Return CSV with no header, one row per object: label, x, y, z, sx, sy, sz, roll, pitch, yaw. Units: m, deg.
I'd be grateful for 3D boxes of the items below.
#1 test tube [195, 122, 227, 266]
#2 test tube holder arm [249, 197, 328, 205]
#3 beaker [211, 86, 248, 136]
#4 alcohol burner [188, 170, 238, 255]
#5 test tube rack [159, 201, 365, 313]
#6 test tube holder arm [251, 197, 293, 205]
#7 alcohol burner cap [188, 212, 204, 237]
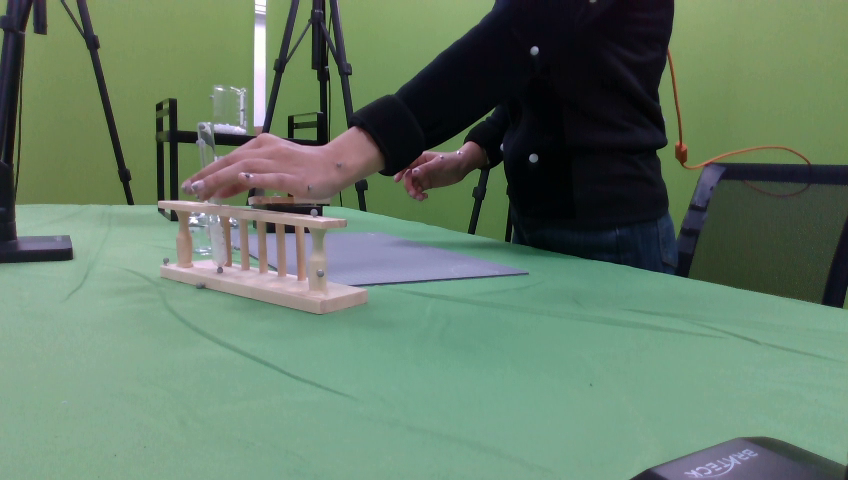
test tube,-0.221,-0.047,0.630,0.017,0.150,0.017,-4,7,1
test tube holder arm,-0.253,-0.075,1.147,0.013,0.015,0.179,4,6,38
beaker,-0.413,-0.274,1.297,0.074,0.100,0.083,-5,11,-44
alcohol burner,-0.298,-0.039,0.852,0.078,0.119,0.078,3,6,0
test tube rack,-0.173,0.009,0.624,0.241,0.085,0.067,7,9,34
test tube holder arm,-0.277,-0.072,1.108,0.010,0.015,0.088,4,6,39
alcohol burner cap,-0.390,-0.029,1.025,0.034,0.048,0.034,2,8,0
